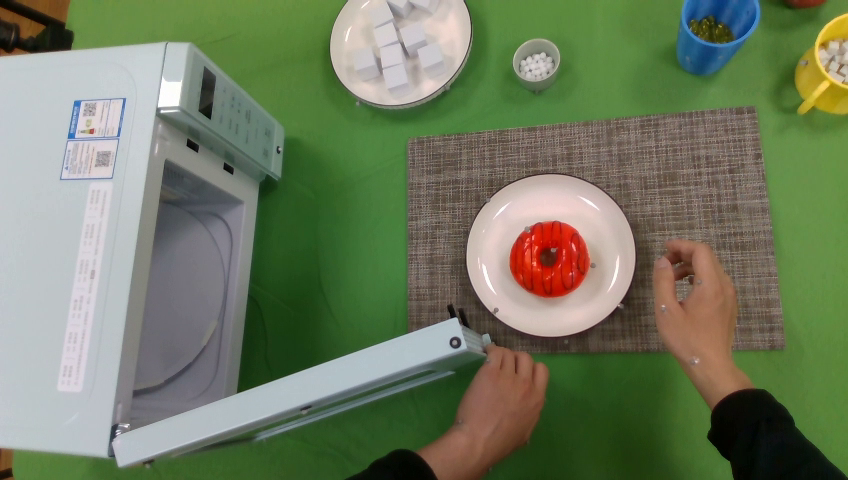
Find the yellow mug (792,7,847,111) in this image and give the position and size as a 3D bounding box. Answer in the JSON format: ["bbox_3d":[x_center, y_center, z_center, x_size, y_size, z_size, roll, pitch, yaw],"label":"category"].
[{"bbox_3d":[0.491,-0.204,0.717,0.131,0.064,0.099,-44,73,2],"label":"yellow mug"}]

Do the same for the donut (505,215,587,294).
[{"bbox_3d":[0.150,0.018,0.746,0.099,0.048,0.098,-2,81,12],"label":"donut"}]

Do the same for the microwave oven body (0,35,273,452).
[{"bbox_3d":[-0.394,0.015,0.761,0.325,0.262,0.440,0,79,12],"label":"microwave oven body"}]

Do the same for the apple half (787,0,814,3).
[{"bbox_3d":[0.461,-0.335,0.747,0.053,0.075,0.080,2,82,16],"label":"apple half"}]

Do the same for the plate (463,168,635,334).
[{"bbox_3d":[0.154,0.014,0.758,0.209,0.038,0.208,-3,78,12],"label":"plate"}]

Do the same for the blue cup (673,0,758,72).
[{"bbox_3d":[0.346,-0.256,0.742,0.092,0.101,0.092,-2,79,11],"label":"blue cup"}]

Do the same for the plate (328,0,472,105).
[{"bbox_3d":[-0.032,-0.286,0.864,0.207,0.039,0.206,-3,78,12],"label":"plate"}]

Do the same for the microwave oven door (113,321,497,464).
[{"bbox_3d":[-0.105,0.163,0.662,0.356,0.245,0.039,-20,74,8],"label":"microwave oven door"}]

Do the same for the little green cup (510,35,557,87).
[{"bbox_3d":[0.148,-0.238,0.814,0.061,0.039,0.061,-3,78,12],"label":"little green cup"}]

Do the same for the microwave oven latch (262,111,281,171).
[{"bbox_3d":[-0.221,-0.139,0.855,0.030,0.030,0.079,2,80,12],"label":"microwave oven latch"}]
